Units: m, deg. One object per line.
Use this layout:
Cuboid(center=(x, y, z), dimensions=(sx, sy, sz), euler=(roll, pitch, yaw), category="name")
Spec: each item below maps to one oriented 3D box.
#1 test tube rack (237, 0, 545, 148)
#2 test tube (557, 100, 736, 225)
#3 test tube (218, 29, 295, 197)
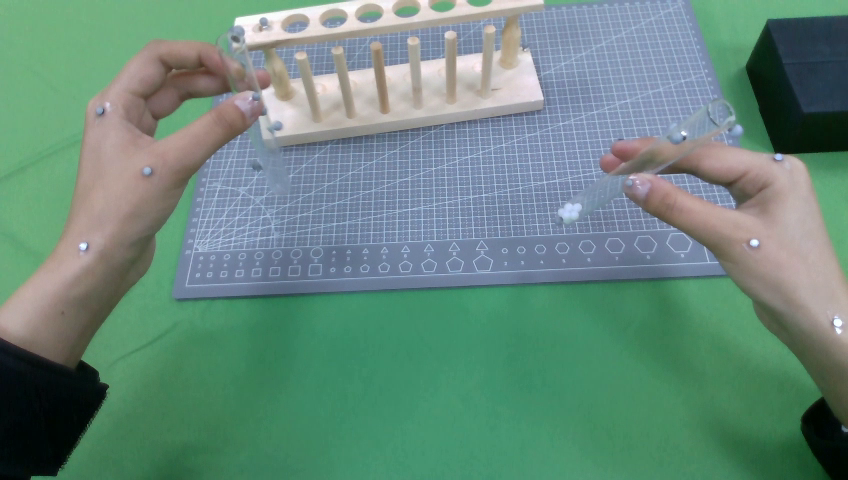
Cuboid(center=(-0.023, -0.145, 0.505), dimensions=(0.242, 0.086, 0.066), euler=(-8, 59, 0), category="test tube rack")
Cuboid(center=(0.119, -0.038, 0.351), dimensions=(0.017, 0.150, 0.017), euler=(5, 71, -16), category="test tube")
Cuboid(center=(-0.099, -0.070, 0.376), dimensions=(0.017, 0.151, 0.017), euler=(1, 63, -1), category="test tube")
